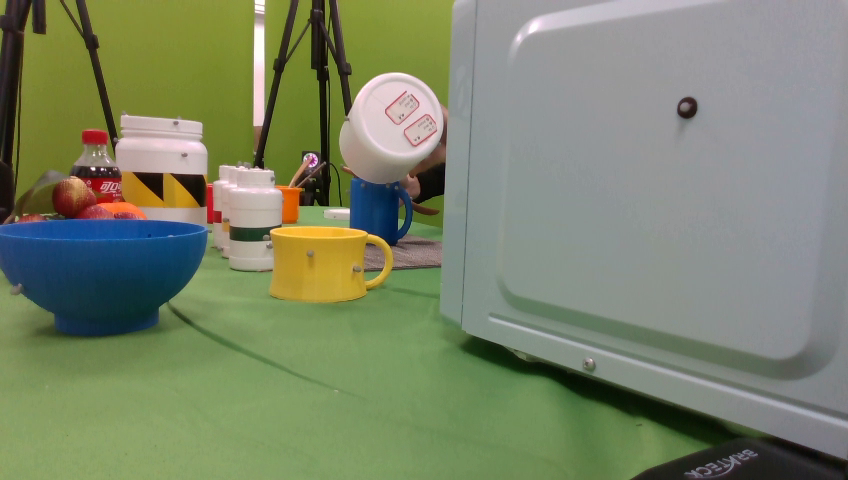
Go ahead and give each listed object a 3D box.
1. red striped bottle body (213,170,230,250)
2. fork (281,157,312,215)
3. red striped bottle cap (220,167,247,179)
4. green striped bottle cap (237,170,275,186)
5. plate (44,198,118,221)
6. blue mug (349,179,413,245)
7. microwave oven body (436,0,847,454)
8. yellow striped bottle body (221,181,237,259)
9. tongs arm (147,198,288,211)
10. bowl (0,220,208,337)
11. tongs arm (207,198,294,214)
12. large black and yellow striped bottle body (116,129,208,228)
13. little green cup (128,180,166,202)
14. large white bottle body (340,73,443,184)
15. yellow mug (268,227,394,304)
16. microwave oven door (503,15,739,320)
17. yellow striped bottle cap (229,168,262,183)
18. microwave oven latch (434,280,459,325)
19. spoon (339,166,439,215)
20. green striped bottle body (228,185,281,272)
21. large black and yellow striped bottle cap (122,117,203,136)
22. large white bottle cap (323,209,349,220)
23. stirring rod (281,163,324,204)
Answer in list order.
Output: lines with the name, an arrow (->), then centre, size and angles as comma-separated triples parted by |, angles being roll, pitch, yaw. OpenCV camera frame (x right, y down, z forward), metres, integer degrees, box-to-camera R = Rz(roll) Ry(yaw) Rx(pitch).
red striped bottle body -> -0.283, -0.047, 0.909 | 0.063, 0.119, 0.063 | 3, 14, 0
fork -> -0.289, -0.116, 1.321 | 0.028, 0.019, 0.207 | 6, 51, 19
red striped bottle cap -> -0.281, -0.099, 0.901 | 0.044, 0.017, 0.044 | -1, 5, 0
green striped bottle cap -> -0.205, -0.075, 0.737 | 0.044, 0.020, 0.044 | 1, 6, 0
plate -> -0.617, -0.056, 1.179 | 0.209, 0.038, 0.209 | 3, 7, 0
blue mug -> -0.069, -0.047, 1.001 | 0.116, 0.106, 0.083 | 6, 9, 28
microwave oven body -> 0.279, -0.040, 0.464 | 0.444, 0.260, 0.324 | -3, 9, -41
yellow striped bottle body -> -0.244, -0.035, 0.823 | 0.063, 0.120, 0.063 | 2, 8, 0
tongs arm -> -0.503, -0.090, 1.513 | 0.028, 0.028, 0.389 | -1, 3, 38
bowl -> -0.251, 0.029, 0.479 | 0.151, 0.077, 0.151 | 2, 7, 0
tongs arm -> -0.423, -0.084, 1.472 | 0.050, 0.026, 0.386 | 1, 6, 22
large black and yellow striped bottle body -> -0.404, -0.089, 0.937 | 0.131, 0.184, 0.130 | 3, 7, 0
little green cup -> -0.485, -0.087, 1.062 | 0.061, 0.038, 0.061 | -1, 6, 0
large white bottle body -> -0.056, -0.157, 0.911 | 0.131, 0.130, 0.184 | 0, -8, -15
yellow mug -> -0.094, 0.023, 0.629 | 0.131, 0.064, 0.099 | 0, 8, -22
microwave oven door -> 0.218, -0.065, 0.600 | 0.358, 0.243, 0.039 | -4, 10, -41
yellow striped bottle cap -> -0.240, -0.087, 0.816 | 0.044, 0.018, 0.044 | -4, 5, 1
microwave oven latch -> 0.044, 0.045, 0.470 | 0.079, 0.029, 0.030 | -2, 8, -39
spoon -> -0.062, -0.088, 1.066 | 0.194, 0.021, 0.041 | 29, -2, 3
green striped bottle body -> -0.208, -0.024, 0.745 | 0.063, 0.119, 0.063 | 2, 7, 0
large black and yellow striped bottle cap -> -0.399, -0.174, 0.927 | 0.115, 0.019, 0.115 | 5, 9, -1
large white bottle cap -> -0.184, -0.062, 1.449 | 0.115, 0.018, 0.115 | 2, 8, 0
stirring rod -> -0.278, -0.105, 1.293 | 0.176, 0.006, 0.014 | -46, 25, -19
